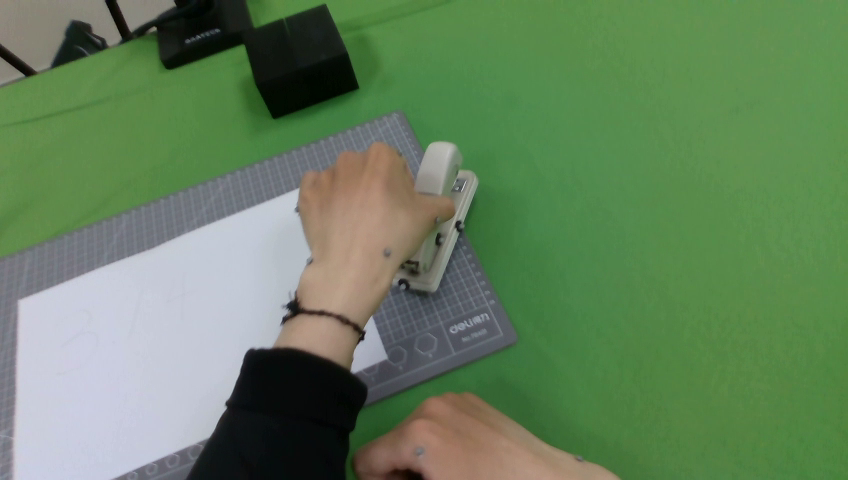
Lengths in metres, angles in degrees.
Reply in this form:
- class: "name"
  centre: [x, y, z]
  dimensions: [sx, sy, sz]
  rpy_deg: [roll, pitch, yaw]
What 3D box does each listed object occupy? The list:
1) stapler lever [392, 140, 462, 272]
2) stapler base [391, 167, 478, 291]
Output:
- class: "stapler lever"
  centre: [0.003, -0.031, 0.495]
  dimensions: [0.026, 0.040, 0.117]
  rpy_deg: [7, 58, 25]
- class: "stapler base"
  centre: [0.009, -0.018, 0.516]
  dimensions: [0.041, 0.025, 0.130]
  rpy_deg: [7, 58, 25]
